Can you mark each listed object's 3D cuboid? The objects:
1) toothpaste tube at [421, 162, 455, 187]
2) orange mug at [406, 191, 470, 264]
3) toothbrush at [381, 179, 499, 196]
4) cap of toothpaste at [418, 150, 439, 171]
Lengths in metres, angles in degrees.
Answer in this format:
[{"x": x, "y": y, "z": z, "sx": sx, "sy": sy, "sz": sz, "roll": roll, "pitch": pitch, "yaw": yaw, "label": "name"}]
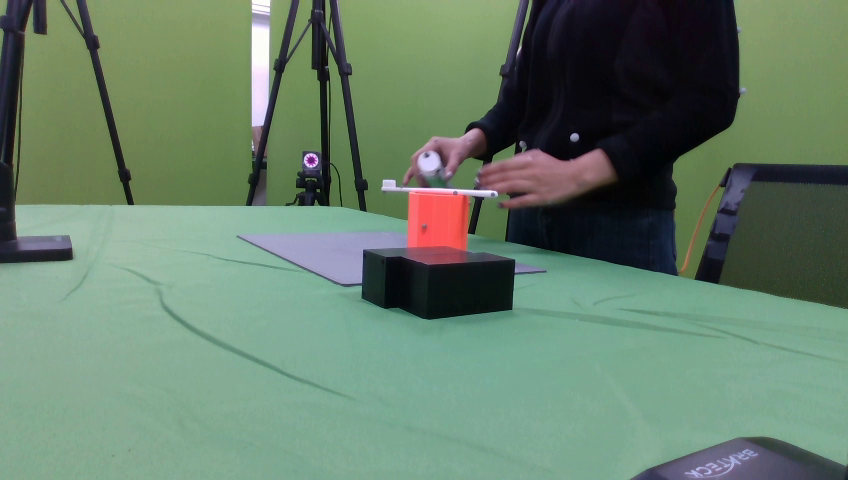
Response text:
[{"x": 0.024, "y": -0.113, "z": 1.089, "sx": 0.055, "sy": 0.034, "sz": 0.165, "roll": 7, "pitch": -12, "yaw": 12, "label": "toothpaste tube"}, {"x": 0.027, "y": -0.023, "z": 0.866, "sx": 0.083, "sy": 0.101, "sz": 0.126, "roll": 6, "pitch": 12, "yaw": 24, "label": "orange mug"}, {"x": 0.019, "y": -0.073, "z": 0.841, "sx": 0.181, "sy": 0.016, "sz": 0.014, "roll": 6, "pitch": 3, "yaw": 27, "label": "toothbrush"}, {"x": 0.007, "y": -0.132, "z": 1.010, "sx": 0.037, "sy": 0.037, "sz": 0.011, "roll": 2, "pitch": -6, "yaw": -3, "label": "cap of toothpaste"}]
